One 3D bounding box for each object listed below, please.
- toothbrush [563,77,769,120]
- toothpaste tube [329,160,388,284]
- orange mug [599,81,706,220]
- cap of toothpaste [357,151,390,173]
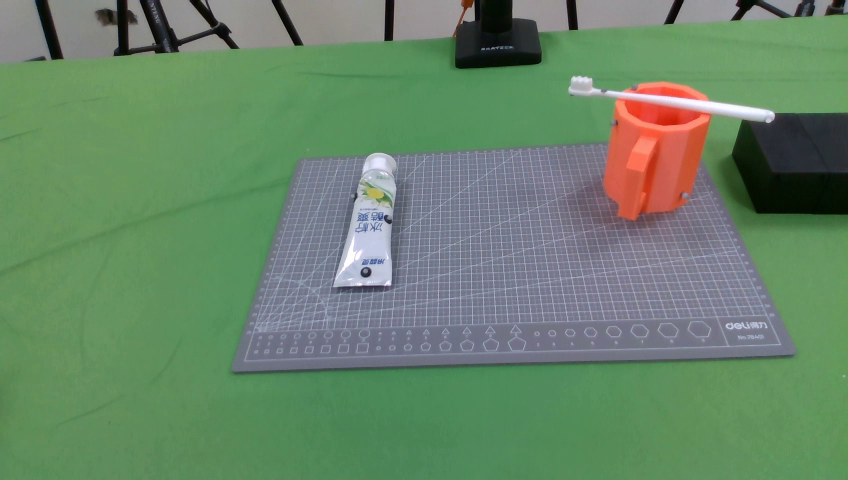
[{"bbox_3d":[0.218,-0.130,0.557,0.181,0.017,0.014,15,41,21],"label":"toothbrush"},{"bbox_3d":[-0.059,-0.022,0.603,0.055,0.035,0.163,-5,48,7],"label":"toothpaste tube"},{"bbox_3d":[0.212,-0.081,0.582,0.083,0.102,0.126,18,44,24],"label":"orange mug"},{"bbox_3d":[-0.055,-0.080,0.653,0.037,0.038,0.011,0,50,6],"label":"cap of toothpaste"}]
